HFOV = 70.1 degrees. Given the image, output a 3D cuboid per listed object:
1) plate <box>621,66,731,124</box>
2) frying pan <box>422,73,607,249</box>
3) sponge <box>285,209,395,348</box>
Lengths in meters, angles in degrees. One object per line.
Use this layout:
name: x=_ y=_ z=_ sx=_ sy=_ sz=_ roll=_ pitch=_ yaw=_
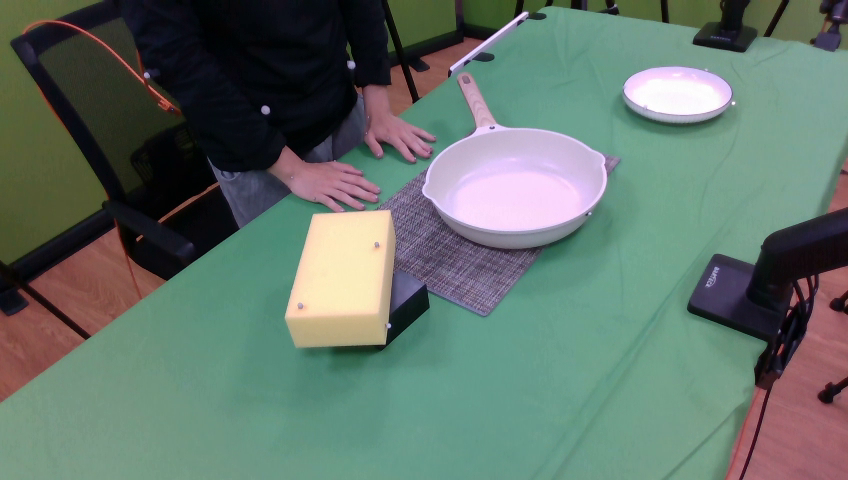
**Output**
plate: x=0.503 y=-0.288 z=1.221 sx=0.207 sy=0.039 sz=0.206 roll=-4 pitch=41 yaw=4
frying pan: x=0.130 y=-0.160 z=1.069 sx=0.307 sy=0.103 sz=0.484 roll=-10 pitch=49 yaw=-5
sponge: x=-0.107 y=0.047 z=0.823 sx=0.118 sy=0.061 sz=0.206 roll=-3 pitch=41 yaw=4
